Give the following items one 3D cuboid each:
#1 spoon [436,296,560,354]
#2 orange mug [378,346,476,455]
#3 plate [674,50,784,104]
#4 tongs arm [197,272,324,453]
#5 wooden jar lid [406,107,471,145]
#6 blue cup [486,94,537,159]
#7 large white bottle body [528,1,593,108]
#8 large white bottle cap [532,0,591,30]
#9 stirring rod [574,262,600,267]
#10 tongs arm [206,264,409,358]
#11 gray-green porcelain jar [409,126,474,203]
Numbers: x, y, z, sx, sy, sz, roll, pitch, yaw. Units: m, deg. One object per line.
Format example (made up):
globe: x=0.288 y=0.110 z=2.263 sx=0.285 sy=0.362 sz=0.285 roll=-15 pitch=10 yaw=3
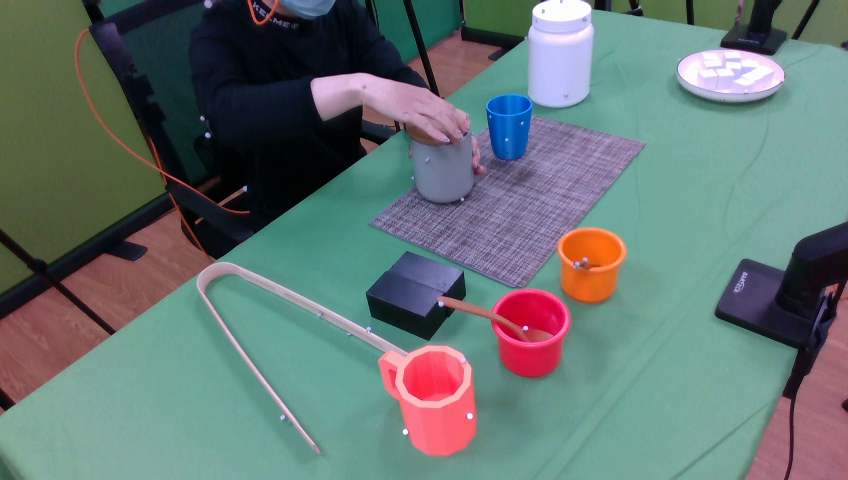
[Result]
spoon: x=0.095 y=0.102 z=0.750 sx=0.195 sy=0.021 sz=0.041 roll=28 pitch=31 yaw=-28
orange mug: x=0.002 y=0.179 z=0.708 sx=0.125 sy=0.101 sz=0.083 roll=25 pitch=50 yaw=27
plate: x=0.631 y=-0.336 z=1.262 sx=0.207 sy=0.039 sz=0.206 roll=-4 pitch=41 yaw=4
tongs arm: x=-0.236 y=0.154 z=0.830 sx=0.028 sy=0.028 sz=0.384 roll=-37 pitch=48 yaw=-18
wooden jar lid: x=0.024 y=-0.188 z=1.000 sx=0.108 sy=0.021 sz=0.108 roll=-2 pitch=40 yaw=2
blue cup: x=0.161 y=-0.208 z=1.129 sx=0.092 sy=0.100 sz=0.092 roll=-4 pitch=39 yaw=4
large white bottle body: x=0.283 y=-0.386 z=1.259 sx=0.130 sy=0.185 sz=0.130 roll=-5 pitch=41 yaw=5
large white bottle cap: x=0.274 y=-0.449 z=1.204 sx=0.115 sy=0.018 sz=0.114 roll=-4 pitch=41 yaw=4
stirring rod: x=0.222 y=0.033 z=0.816 sx=0.014 sy=0.006 sz=0.177 roll=8 pitch=1 yaw=22
tongs arm: x=-0.179 y=0.107 z=0.870 sx=0.382 sy=0.027 sz=0.051 roll=23 pitch=54 yaw=32
gray-green porcelain jar: x=0.033 y=-0.137 z=1.045 sx=0.106 sy=0.127 sz=0.105 roll=-4 pitch=41 yaw=4
